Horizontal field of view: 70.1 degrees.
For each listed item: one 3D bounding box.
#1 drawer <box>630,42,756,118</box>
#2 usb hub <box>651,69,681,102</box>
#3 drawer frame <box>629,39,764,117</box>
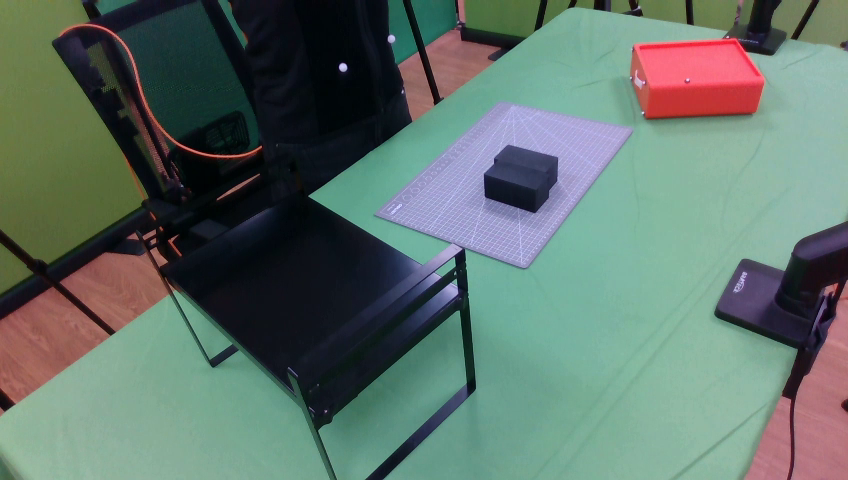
[{"bbox_3d":[0.541,-0.331,1.234,0.211,0.073,0.194,-1,40,8],"label":"drawer"},{"bbox_3d":[0.501,-0.319,1.249,0.049,0.025,0.125,10,38,20],"label":"usb hub"},{"bbox_3d":[0.542,-0.332,1.234,0.213,0.083,0.201,-1,41,6],"label":"drawer frame"}]
